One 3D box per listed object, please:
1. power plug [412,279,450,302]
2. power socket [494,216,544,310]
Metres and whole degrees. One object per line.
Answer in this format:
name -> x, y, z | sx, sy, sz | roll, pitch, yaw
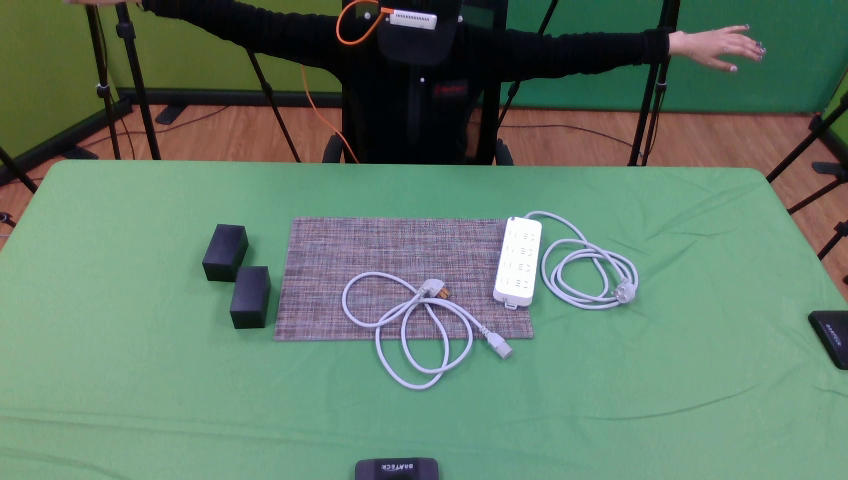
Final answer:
power plug -> 0.013, 0.101, 1.092 | 0.052, 0.035, 0.072 | 39, 67, -1
power socket -> 0.184, 0.037, 1.161 | 0.072, 0.033, 0.225 | 12, 46, 7
